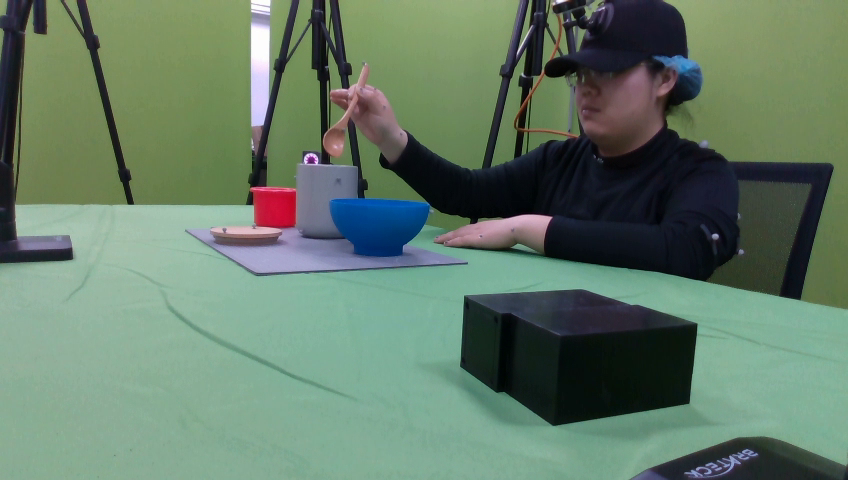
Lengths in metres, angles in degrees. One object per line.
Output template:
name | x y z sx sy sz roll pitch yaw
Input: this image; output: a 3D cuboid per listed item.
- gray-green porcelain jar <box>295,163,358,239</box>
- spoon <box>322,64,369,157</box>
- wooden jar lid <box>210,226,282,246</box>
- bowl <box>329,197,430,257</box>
gray-green porcelain jar | -0.170 -0.069 1.054 0.106 0.126 0.106 3 7 0
spoon | -0.129 -0.226 1.041 0.042 0.193 0.021 35 -23 -33
wooden jar lid | -0.279 -0.007 0.951 0.108 0.020 0.108 2 8 0
bowl | -0.067 -0.019 0.895 0.151 0.077 0.151 3 7 0
